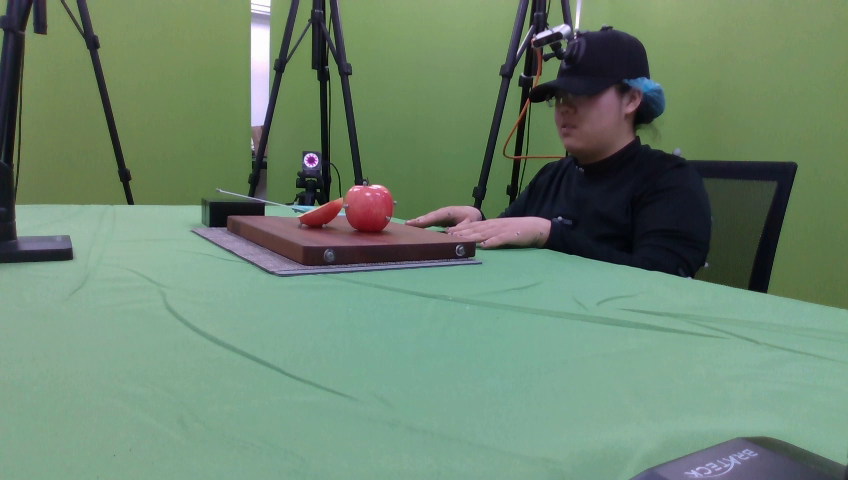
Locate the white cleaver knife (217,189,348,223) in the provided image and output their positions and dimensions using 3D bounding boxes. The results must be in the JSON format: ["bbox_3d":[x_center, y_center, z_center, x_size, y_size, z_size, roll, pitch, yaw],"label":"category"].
[{"bbox_3d":[-0.275,-0.066,1.233,0.288,0.021,0.065,11,6,-29],"label":"white cleaver knife"}]

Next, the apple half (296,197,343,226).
[{"bbox_3d":[-0.163,-0.041,0.979,0.081,0.033,0.081,-21,7,3],"label":"apple half"}]

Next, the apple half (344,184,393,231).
[{"bbox_3d":[-0.079,-0.049,0.947,0.053,0.074,0.081,15,10,41],"label":"apple half"}]
